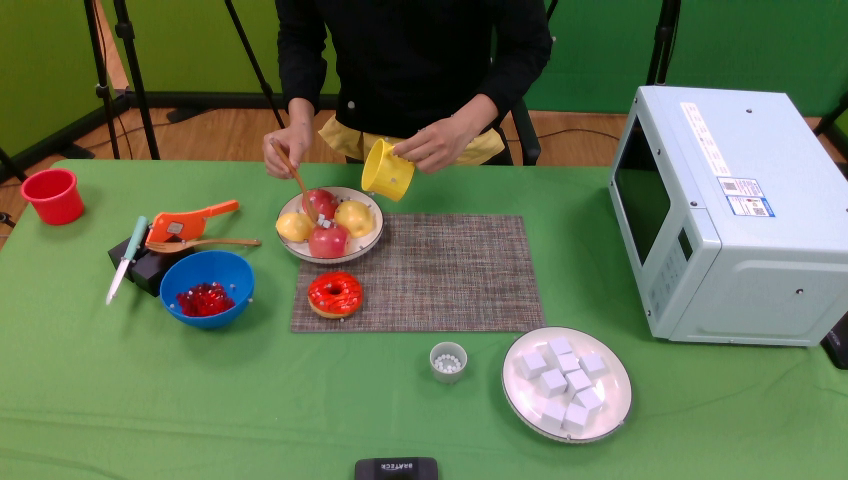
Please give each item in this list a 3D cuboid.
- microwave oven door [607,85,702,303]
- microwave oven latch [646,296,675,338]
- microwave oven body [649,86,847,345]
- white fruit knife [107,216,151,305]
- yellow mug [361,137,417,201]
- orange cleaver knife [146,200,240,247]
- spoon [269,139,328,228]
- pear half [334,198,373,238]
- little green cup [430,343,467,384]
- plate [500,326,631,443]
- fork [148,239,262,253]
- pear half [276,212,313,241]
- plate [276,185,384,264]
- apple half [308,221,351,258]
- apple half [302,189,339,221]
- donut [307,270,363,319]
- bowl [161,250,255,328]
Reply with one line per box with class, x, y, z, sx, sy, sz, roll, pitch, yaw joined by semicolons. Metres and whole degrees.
microwave oven door;0.423;-0.094;1.140;0.039;0.245;0.353;2;46;-1
microwave oven latch;0.412;0.134;1.061;0.030;0.029;0.078;4;45;1
microwave oven body;0.568;-0.053;1.118;0.326;0.261;0.439;2;45;-1
white fruit knife;-0.518;0.032;1.066;0.027;0.016;0.206;-19;45;19
yellow mug;-0.059;-0.134;1.090;0.064;0.131;0.099;18;60;-22
orange cleaver knife;-0.435;-0.033;1.157;0.012;0.077;0.211;31;26;18
spoon;-0.223;-0.099;1.083;0.021;0.195;0.041;-19;31;8
pear half;-0.146;-0.060;1.210;0.076;0.056;0.109;-16;46;-24
little green cup;0.039;0.203;0.993;0.061;0.039;0.061;2;46;-2
plate;0.224;0.234;0.978;0.208;0.039;0.206;2;46;-2
fork;-0.398;0.008;1.117;0.208;0.019;0.028;-5;34;-37
pear half;-0.245;-0.035;1.178;0.070;0.031;0.088;40;42;0
plate;-0.184;-0.027;1.194;0.209;0.038;0.208;2;46;-2
apple half;-0.180;-0.005;1.150;0.074;0.053;0.080;14;43;9
apple half;-0.205;-0.076;1.216;0.081;0.033;0.081;19;43;-18
donut;-0.157;0.097;1.073;0.099;0.048;0.098;4;46;-4
bowl;-0.362;0.097;1.040;0.151;0.077;0.150;2;45;-2
